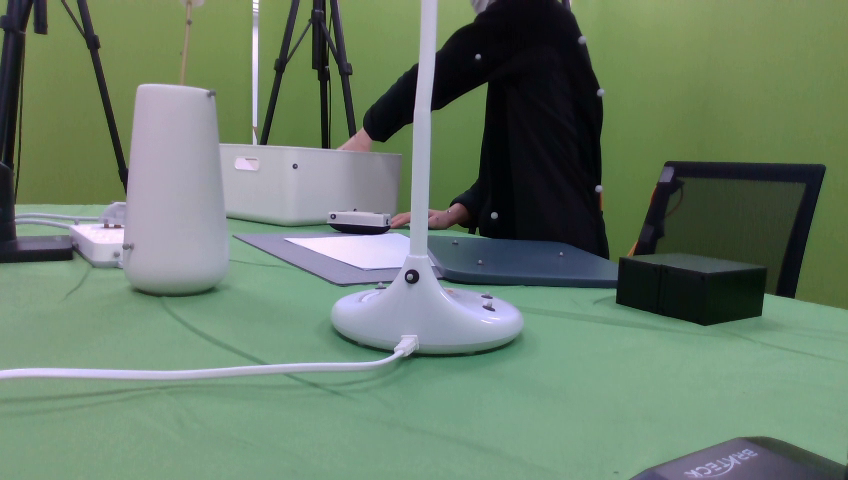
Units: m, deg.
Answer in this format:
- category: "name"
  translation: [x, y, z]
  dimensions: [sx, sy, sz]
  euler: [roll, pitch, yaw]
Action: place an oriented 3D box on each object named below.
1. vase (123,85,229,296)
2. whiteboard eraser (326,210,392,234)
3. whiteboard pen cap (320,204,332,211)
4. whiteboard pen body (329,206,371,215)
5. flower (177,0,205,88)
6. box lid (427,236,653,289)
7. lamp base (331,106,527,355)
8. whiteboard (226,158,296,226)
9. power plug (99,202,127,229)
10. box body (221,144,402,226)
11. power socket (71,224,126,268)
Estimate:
- category: "vase"
  translation: [-0.244, -0.047, 0.598]
  dimensions: [0.098, 0.200, 0.098]
  euler: [3, 8, 0]
- category: "whiteboard eraser"
  translation: [-0.121, -0.033, 1.131]
  dimensions: [0.112, 0.042, 0.056]
  euler: [5, 9, 13]
- category: "whiteboard pen cap"
  translation: [-0.247, -0.082, 1.532]
  dimensions: [0.033, 0.018, 0.018]
  euler: [8, 10, 39]
- category: "whiteboard pen body"
  translation: [-0.189, -0.075, 1.522]
  dimensions: [0.140, 0.017, 0.017]
  euler: [7, 9, 36]
- category: "flower"
  translation: [-0.243, -0.131, 0.609]
  dimensions: [0.044, 0.361, 0.038]
  euler: [-5, -12, 11]
- category: "box lid"
  translation: [0.139, 0.028, 0.886]
  dimensions: [0.264, 0.015, 0.371]
  euler: [2, 7, -6]
- category: "lamp base"
  translation: [0.006, -0.012, 0.478]
  dimensions: [0.161, 0.180, 0.179]
  euler: [2, 10, 2]
- category: "whiteboard"
  translation: [-0.265, -0.117, 1.372]
  dimensions: [0.216, 0.143, 0.307]
  euler: [4, 7, 36]
- category: "power plug"
  translation: [-0.415, -0.026, 0.848]
  dimensions: [0.073, 0.052, 0.035]
  euler: [6, 5, -28]
- category: "box body"
  translation: [-0.254, -0.128, 1.379]
  dimensions: [0.253, 0.160, 0.366]
  euler: [8, 9, 36]
- category: "power socket"
  translation: [-0.409, 0.004, 0.793]
  dimensions: [0.072, 0.032, 0.225]
  euler: [-2, 8, -37]
